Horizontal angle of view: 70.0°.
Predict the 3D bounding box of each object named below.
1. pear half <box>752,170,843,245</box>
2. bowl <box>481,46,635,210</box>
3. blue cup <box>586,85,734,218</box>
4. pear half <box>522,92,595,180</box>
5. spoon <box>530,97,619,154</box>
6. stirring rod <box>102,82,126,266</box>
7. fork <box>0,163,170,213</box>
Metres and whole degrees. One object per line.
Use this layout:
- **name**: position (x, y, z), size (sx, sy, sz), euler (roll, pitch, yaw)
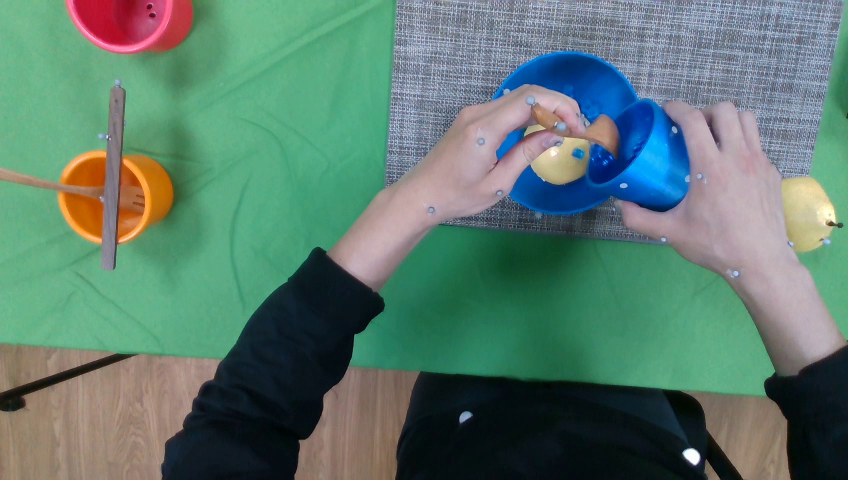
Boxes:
- **pear half**: position (0.367, -0.028, 0.601), size (0.056, 0.109, 0.076), euler (-14, 98, 4)
- **bowl**: position (0.129, -0.109, 0.598), size (0.151, 0.076, 0.152), euler (0, 102, 0)
- **blue cup**: position (0.209, -0.067, 0.527), size (0.101, 0.092, 0.093), euler (25, 101, -14)
- **pear half**: position (0.133, -0.104, 0.593), size (0.070, 0.031, 0.088), euler (-18, 96, -1)
- **spoon**: position (0.119, -0.088, 0.465), size (0.021, 0.194, 0.041), euler (-19, 84, 34)
- **stirring rod**: position (-0.295, -0.060, 0.575), size (0.014, 0.006, 0.176), euler (9, 103, -4)
- **fork**: position (-0.348, -0.056, 0.578), size (0.209, 0.018, 0.028), euler (13, 116, -47)
